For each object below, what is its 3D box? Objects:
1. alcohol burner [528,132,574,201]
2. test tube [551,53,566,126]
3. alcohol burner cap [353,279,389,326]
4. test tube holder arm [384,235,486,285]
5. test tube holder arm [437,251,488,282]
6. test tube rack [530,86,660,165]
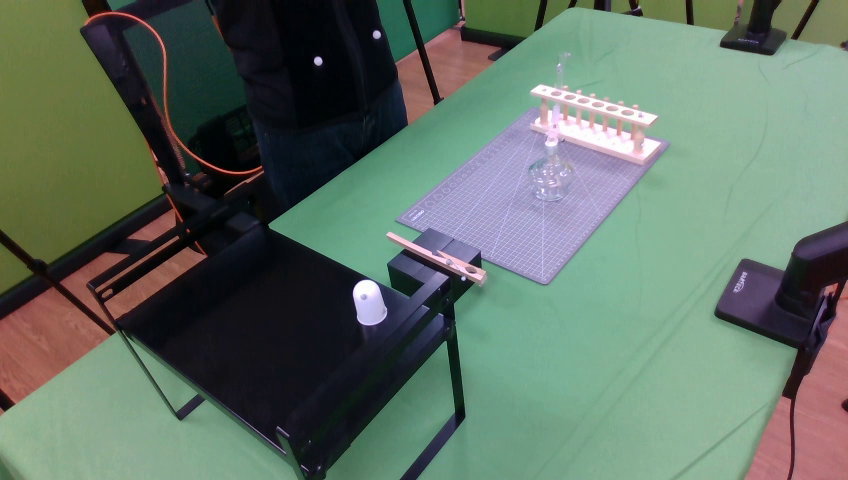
[{"bbox_3d":[0.214,-0.126,1.016,0.078,0.119,0.077,-5,38,5],"label":"alcohol burner"},{"bbox_3d":[0.252,-0.280,1.138,0.017,0.151,0.017,-3,44,3],"label":"test tube"},{"bbox_3d":[-0.055,0.061,0.616,0.034,0.048,0.033,-5,41,5],"label":"alcohol burner cap"},{"bbox_3d":[0.012,0.027,0.871,0.177,0.015,0.013,21,53,30],"label":"test tube holder arm"},{"bbox_3d":[0.051,0.037,0.852,0.087,0.015,0.010,22,53,31],"label":"test tube holder arm"},{"bbox_3d":[0.320,-0.226,1.140,0.240,0.085,0.067,27,51,34],"label":"test tube rack"}]
